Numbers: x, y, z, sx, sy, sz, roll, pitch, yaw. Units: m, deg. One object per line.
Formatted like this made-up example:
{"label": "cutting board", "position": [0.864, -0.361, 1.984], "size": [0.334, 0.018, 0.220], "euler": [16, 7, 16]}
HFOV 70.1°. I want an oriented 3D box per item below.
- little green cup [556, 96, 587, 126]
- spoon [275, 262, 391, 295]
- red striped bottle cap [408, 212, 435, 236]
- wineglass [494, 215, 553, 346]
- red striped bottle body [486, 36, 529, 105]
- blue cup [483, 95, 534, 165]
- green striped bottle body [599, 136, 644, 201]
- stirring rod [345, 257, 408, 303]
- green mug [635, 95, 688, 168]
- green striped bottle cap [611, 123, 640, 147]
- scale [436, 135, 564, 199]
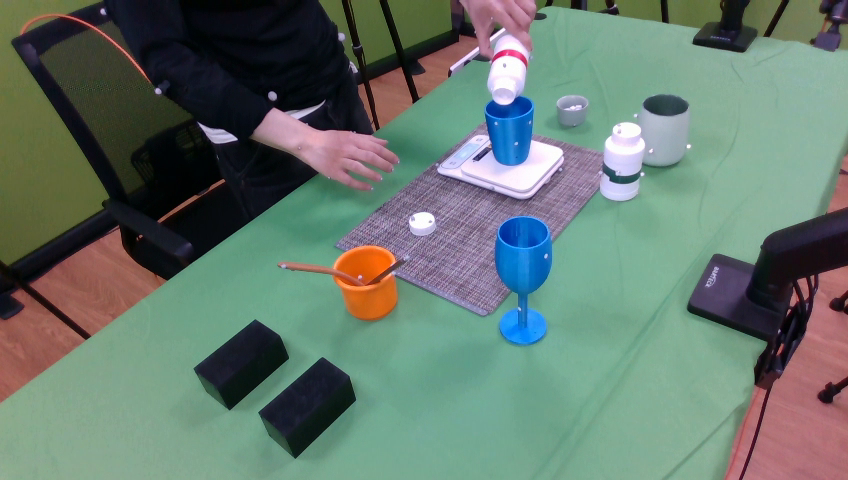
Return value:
{"label": "little green cup", "position": [0.295, -0.258, 1.214], "size": [0.061, 0.039, 0.061], "euler": [-4, 42, 4]}
{"label": "spoon", "position": [-0.120, 0.050, 0.830], "size": [0.041, 0.195, 0.021], "euler": [33, 98, 45]}
{"label": "red striped bottle cap", "position": [-0.004, -0.027, 0.999], "size": [0.044, 0.018, 0.044], "euler": [-4, 45, 5]}
{"label": "wineglass", "position": [0.127, 0.055, 0.770], "size": [0.074, 0.173, 0.073], "euler": [-4, 40, 4]}
{"label": "red striped bottle body", "position": [0.143, -0.288, 1.036], "size": [0.063, 0.063, 0.119], "euler": [4, 57, 13]}
{"label": "blue cup", "position": [0.150, -0.187, 1.052], "size": [0.092, 0.101, 0.092], "euler": [-6, 40, 6]}
{"label": "green striped bottle body", "position": [0.326, -0.128, 0.997], "size": [0.063, 0.120, 0.063], "euler": [-4, 41, 4]}
{"label": "stirring rod", "position": [-0.067, 0.057, 0.815], "size": [0.014, 0.175, 0.006], "euler": [-24, 82, -38]}
{"label": "green mug", "position": [0.421, -0.201, 1.081], "size": [0.092, 0.105, 0.125], "euler": [5, 42, 15]}
{"label": "green striped bottle cap", "position": [0.322, -0.168, 0.963], "size": [0.044, 0.020, 0.044], "euler": [-3, 42, 3]}
{"label": "scale", "position": [0.137, -0.142, 1.101], "size": [0.199, 0.032, 0.149], "euler": [22, 48, 30]}
